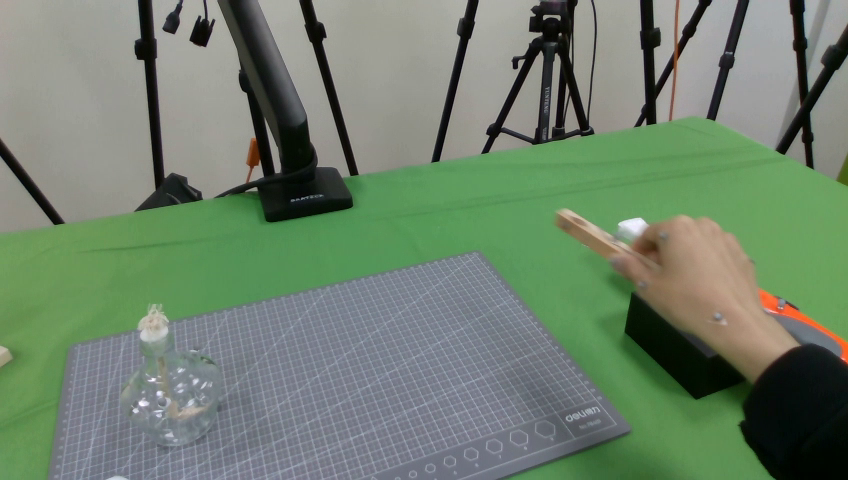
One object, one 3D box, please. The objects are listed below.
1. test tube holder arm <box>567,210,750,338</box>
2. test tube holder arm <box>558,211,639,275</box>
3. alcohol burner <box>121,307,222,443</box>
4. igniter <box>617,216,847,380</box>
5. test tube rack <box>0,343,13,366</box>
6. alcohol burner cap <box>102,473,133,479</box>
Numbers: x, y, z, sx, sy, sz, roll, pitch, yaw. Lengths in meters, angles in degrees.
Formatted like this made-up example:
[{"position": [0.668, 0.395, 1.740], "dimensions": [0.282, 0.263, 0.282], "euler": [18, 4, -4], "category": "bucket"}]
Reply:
[{"position": [0.179, 0.021, 0.487], "dimensions": [0.013, 0.015, 0.176], "euler": [-22, 42, -30], "category": "test tube holder arm"}, {"position": [0.148, 0.001, 0.513], "dimensions": [0.010, 0.015, 0.087], "euler": [-22, 42, -29], "category": "test tube holder arm"}, {"position": [-0.206, 0.105, 0.489], "dimensions": [0.078, 0.120, 0.077], "euler": [-1, 31, 1], "category": "alcohol burner"}, {"position": [0.281, 0.041, 0.573], "dimensions": [0.057, 0.025, 0.273], "euler": [-14, 31, -18], "category": "igniter"}, {"position": [-0.482, 0.130, 0.489], "dimensions": [0.066, 0.086, 0.241], "euler": [13, 35, 21], "category": "test tube rack"}, {"position": [-0.216, 0.186, 0.428], "dimensions": [0.034, 0.048, 0.033], "euler": [0, 32, 1], "category": "alcohol burner cap"}]
